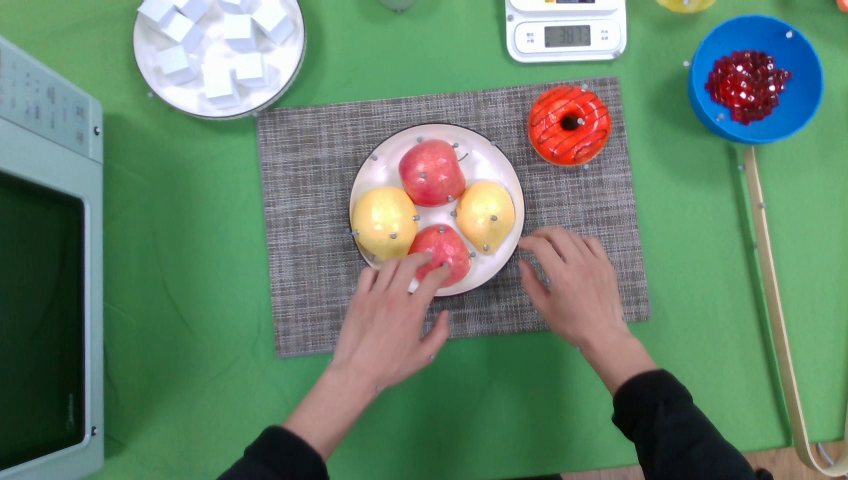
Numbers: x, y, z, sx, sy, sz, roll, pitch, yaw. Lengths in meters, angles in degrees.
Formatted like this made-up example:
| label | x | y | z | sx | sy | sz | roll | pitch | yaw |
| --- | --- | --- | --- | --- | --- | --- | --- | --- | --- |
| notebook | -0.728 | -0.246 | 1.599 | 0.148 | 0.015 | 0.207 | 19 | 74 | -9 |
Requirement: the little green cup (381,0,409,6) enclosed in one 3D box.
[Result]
| label | x | y | z | sx | sy | sz | roll | pitch | yaw |
| --- | --- | --- | --- | --- | --- | --- | --- | --- | --- |
| little green cup | -0.037 | -0.323 | 0.749 | 0.061 | 0.039 | 0.061 | 0 | 84 | 0 |

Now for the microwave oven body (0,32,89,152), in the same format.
| label | x | y | z | sx | sy | sz | roll | pitch | yaw |
| --- | --- | --- | --- | --- | --- | --- | --- | --- | --- |
| microwave oven body | -0.539 | 0.035 | 0.597 | 0.326 | 0.260 | 0.440 | -3 | 85 | -1 |

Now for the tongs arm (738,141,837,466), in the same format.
| label | x | y | z | sx | sy | sz | roll | pitch | yaw |
| --- | --- | --- | --- | --- | --- | --- | --- | --- | --- |
| tongs arm | 0.426 | 0.071 | 0.714 | 0.051 | 0.026 | 0.384 | -6 | 85 | -6 |

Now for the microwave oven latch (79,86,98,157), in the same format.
| label | x | y | z | sx | sy | sz | roll | pitch | yaw |
| --- | --- | --- | --- | --- | --- | --- | --- | --- | --- |
| microwave oven latch | -0.401 | -0.138 | 0.711 | 0.030 | 0.029 | 0.079 | -2 | 85 | -1 |

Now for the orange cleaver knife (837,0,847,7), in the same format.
| label | x | y | z | sx | sy | sz | roll | pitch | yaw |
| --- | --- | --- | --- | --- | --- | --- | --- | --- | --- |
| orange cleaver knife | 0.477 | -0.375 | 0.704 | 0.077 | 0.012 | 0.211 | -16 | 85 | -5 |

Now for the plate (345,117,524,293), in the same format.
| label | x | y | z | sx | sy | sz | roll | pitch | yaw |
| --- | --- | --- | --- | --- | --- | --- | --- | --- | --- |
| plate | 0.013 | -0.040 | 0.718 | 0.209 | 0.038 | 0.208 | 0 | 84 | 0 |

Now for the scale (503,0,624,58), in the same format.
| label | x | y | z | sx | sy | sz | roll | pitch | yaw |
| --- | --- | --- | --- | --- | --- | --- | --- | --- | --- |
| scale | 0.171 | -0.328 | 0.754 | 0.149 | 0.031 | 0.200 | -2 | 85 | 0 |

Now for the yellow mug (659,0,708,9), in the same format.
| label | x | y | z | sx | sy | sz | roll | pitch | yaw |
| --- | --- | --- | --- | --- | --- | --- | --- | --- | --- |
| yellow mug | 0.318 | -0.357 | 0.740 | 0.100 | 0.064 | 0.130 | -38 | 85 | -3 |

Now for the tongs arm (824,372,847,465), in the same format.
| label | x | y | z | sx | sy | sz | roll | pitch | yaw |
| --- | --- | --- | --- | --- | --- | --- | --- | --- | --- |
| tongs arm | 0.513 | 0.070 | 0.719 | 0.028 | 0.028 | 0.386 | 9 | 84 | -8 |

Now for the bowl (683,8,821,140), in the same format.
| label | x | y | z | sx | sy | sz | roll | pitch | yaw |
| --- | --- | --- | --- | --- | --- | --- | --- | --- | --- |
| bowl | 0.372 | -0.185 | 0.718 | 0.151 | 0.077 | 0.151 | 0 | 85 | 0 |

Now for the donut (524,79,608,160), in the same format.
| label | x | y | z | sx | sy | sz | roll | pitch | yaw |
| --- | --- | --- | --- | --- | --- | --- | --- | --- | --- |
| donut | 0.169 | -0.144 | 0.726 | 0.099 | 0.048 | 0.099 | 0 | 85 | 3 |

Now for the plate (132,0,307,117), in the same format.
| label | x | y | z | sx | sy | sz | roll | pitch | yaw |
| --- | --- | --- | --- | --- | --- | --- | --- | --- | --- |
| plate | -0.245 | -0.248 | 0.741 | 0.208 | 0.039 | 0.207 | 0 | 84 | 0 |

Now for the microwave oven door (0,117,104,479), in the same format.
| label | x | y | z | sx | sy | sz | roll | pitch | yaw |
| --- | --- | --- | --- | --- | --- | --- | --- | --- | --- |
| microwave oven door | -0.392 | 0.068 | 0.588 | 0.039 | 0.244 | 0.355 | -4 | 84 | 0 |

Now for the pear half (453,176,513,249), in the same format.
| label | x | y | z | sx | sy | sz | roll | pitch | yaw |
| --- | --- | --- | --- | --- | --- | --- | --- | --- | --- |
| pear half | 0.068 | -0.034 | 0.711 | 0.070 | 0.031 | 0.087 | -5 | 81 | 13 |

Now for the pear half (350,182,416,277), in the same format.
| label | x | y | z | sx | sy | sz | roll | pitch | yaw |
| --- | --- | --- | --- | --- | --- | --- | --- | --- | --- |
| pear half | -0.043 | -0.013 | 0.693 | 0.076 | 0.056 | 0.109 | -12 | 87 | -10 |

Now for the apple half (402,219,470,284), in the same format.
| label | x | y | z | sx | sy | sz | roll | pitch | yaw |
| --- | --- | --- | --- | --- | --- | --- | --- | --- | --- |
| apple half | 0.012 | 0.013 | 0.704 | 0.081 | 0.033 | 0.081 | 0 | 78 | 2 |

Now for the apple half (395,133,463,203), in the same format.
| label | x | y | z | sx | sy | sz | roll | pitch | yaw |
| --- | --- | --- | --- | --- | --- | --- | --- | --- | --- |
| apple half | 0.004 | -0.085 | 0.705 | 0.074 | 0.053 | 0.080 | -18 | 87 | 1 |
